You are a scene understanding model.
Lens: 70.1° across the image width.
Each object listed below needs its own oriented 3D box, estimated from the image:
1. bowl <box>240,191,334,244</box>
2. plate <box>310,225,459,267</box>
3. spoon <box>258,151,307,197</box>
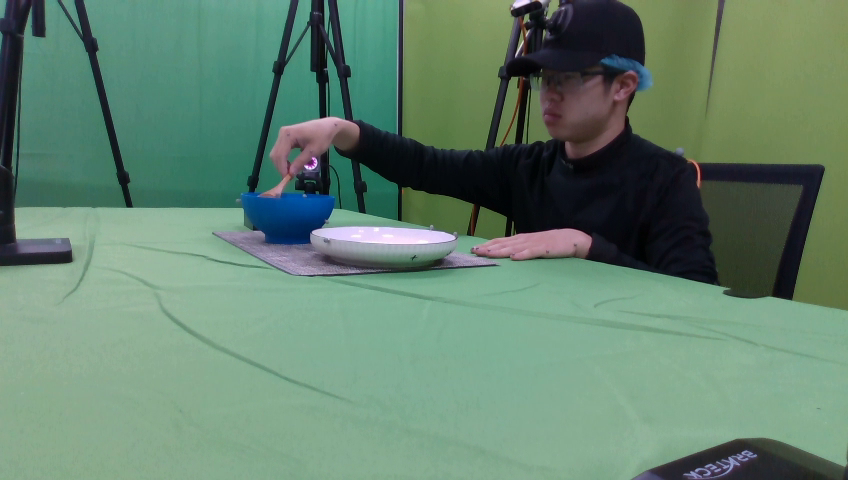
[{"bbox_3d":[-0.223,-0.037,0.992,0.151,0.077,0.151,2,7,0],"label":"bowl"},{"bbox_3d":[-0.055,0.008,0.851,0.208,0.039,0.207,2,7,0],"label":"plate"},{"bbox_3d":[-0.242,-0.104,1.051,0.042,0.021,0.194,37,43,-11],"label":"spoon"}]
